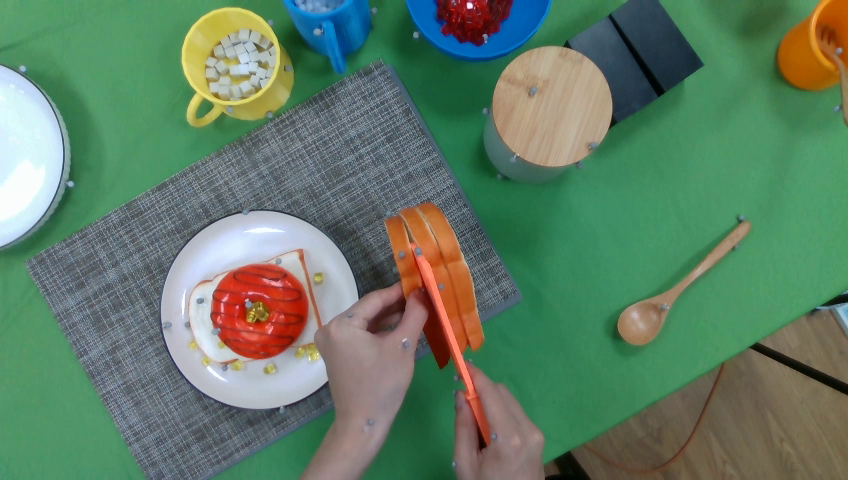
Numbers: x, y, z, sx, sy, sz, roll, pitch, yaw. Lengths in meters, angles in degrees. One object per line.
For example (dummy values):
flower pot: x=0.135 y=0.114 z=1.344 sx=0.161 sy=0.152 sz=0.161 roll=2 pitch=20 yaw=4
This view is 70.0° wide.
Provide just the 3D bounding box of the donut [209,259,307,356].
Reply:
donut: x=-0.168 y=0.068 z=0.615 sx=0.099 sy=0.048 sz=0.099 roll=0 pitch=89 yaw=-4

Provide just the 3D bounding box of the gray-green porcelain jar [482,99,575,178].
gray-green porcelain jar: x=0.114 y=-0.120 z=0.610 sx=0.106 sy=0.126 sz=0.105 roll=0 pitch=88 yaw=-1

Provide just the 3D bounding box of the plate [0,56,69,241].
plate: x=-0.480 y=-0.095 z=0.647 sx=0.208 sy=0.039 sz=0.207 roll=0 pitch=89 yaw=-1

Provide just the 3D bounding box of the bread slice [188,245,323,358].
bread slice: x=-0.183 y=0.072 z=0.646 sx=0.131 sy=0.019 sz=0.104 roll=-16 pitch=87 yaw=-5

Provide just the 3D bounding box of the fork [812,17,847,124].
fork: x=0.409 y=-0.173 z=0.602 sx=0.028 sy=0.019 sz=0.206 roll=32 pitch=45 yaw=-6

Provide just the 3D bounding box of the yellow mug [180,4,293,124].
yellow mug: x=-0.204 y=-0.175 z=0.638 sx=0.100 sy=0.064 sz=0.131 roll=39 pitch=90 yaw=1

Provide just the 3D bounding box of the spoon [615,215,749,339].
spoon: x=0.285 y=0.038 z=0.659 sx=0.194 sy=0.022 sz=0.041 roll=-41 pitch=71 yaw=-1

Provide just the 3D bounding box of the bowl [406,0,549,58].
bowl: x=0.053 y=-0.257 z=0.636 sx=0.151 sy=0.077 sz=0.151 roll=0 pitch=89 yaw=0

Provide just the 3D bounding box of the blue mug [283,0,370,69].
blue mug: x=-0.098 y=-0.235 z=0.621 sx=0.082 sy=0.106 sz=0.116 roll=-10 pitch=89 yaw=0

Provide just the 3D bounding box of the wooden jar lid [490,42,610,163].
wooden jar lid: x=0.113 y=-0.123 z=0.547 sx=0.108 sy=0.020 sz=0.108 roll=0 pitch=90 yaw=-4

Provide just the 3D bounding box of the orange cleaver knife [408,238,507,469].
orange cleaver knife: x=0.028 y=0.098 z=0.534 sx=0.012 sy=0.077 sz=0.212 roll=-22 pitch=97 yaw=-6

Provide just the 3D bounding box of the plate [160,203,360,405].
plate: x=-0.170 y=0.066 z=0.643 sx=0.209 sy=0.038 sz=0.209 roll=0 pitch=89 yaw=0

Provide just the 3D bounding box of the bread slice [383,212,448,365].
bread slice: x=-0.010 y=0.038 z=0.587 sx=0.018 sy=0.106 sz=0.135 roll=-20 pitch=111 yaw=-1
